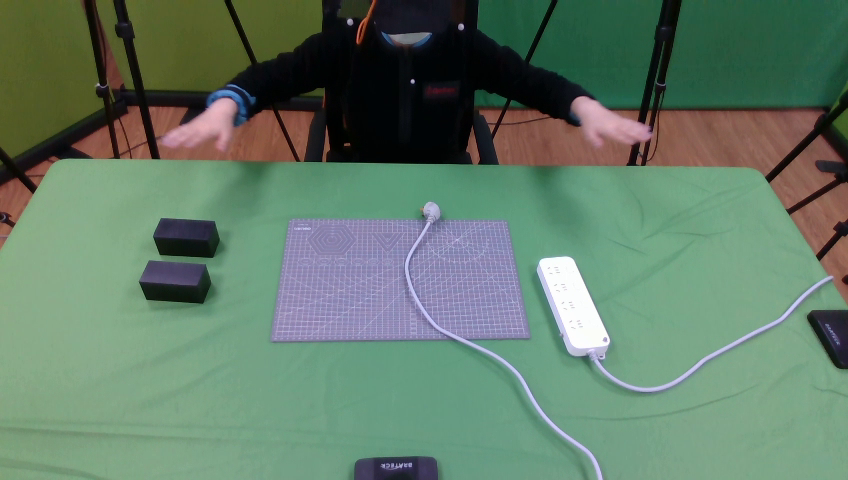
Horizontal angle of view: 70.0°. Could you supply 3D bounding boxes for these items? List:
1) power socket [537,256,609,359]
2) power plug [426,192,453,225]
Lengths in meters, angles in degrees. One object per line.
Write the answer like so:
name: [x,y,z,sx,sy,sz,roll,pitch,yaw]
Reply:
power socket: [0.266,0.115,1.097,0.072,0.033,0.225,-5,47,-8]
power plug: [0.032,-0.062,1.228,0.035,0.072,0.052,-22,92,-36]
